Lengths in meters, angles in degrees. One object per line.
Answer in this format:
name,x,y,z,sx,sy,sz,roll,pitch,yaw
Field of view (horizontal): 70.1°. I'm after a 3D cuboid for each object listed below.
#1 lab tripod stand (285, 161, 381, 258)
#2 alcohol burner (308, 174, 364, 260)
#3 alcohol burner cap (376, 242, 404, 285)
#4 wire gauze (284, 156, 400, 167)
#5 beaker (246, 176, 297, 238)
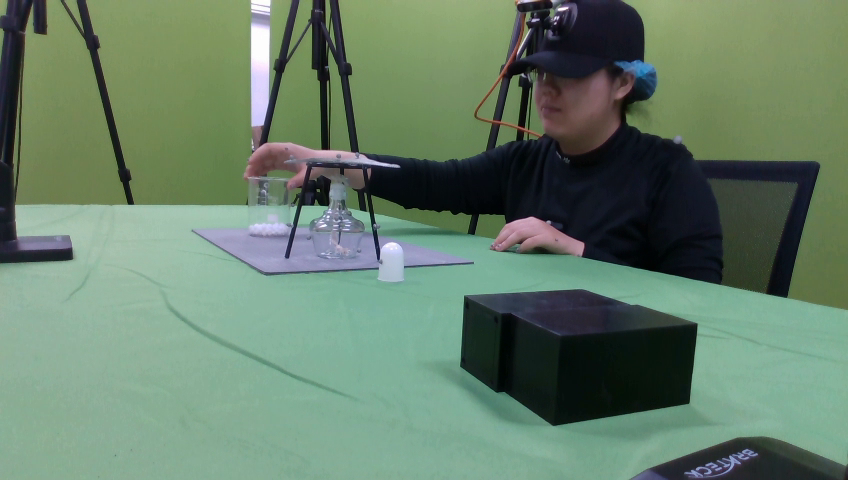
lab tripod stand,-0.123,-0.043,0.842,0.148,0.131,0.148,3,9,0
alcohol burner,-0.121,-0.033,0.843,0.078,0.119,0.078,3,5,0
alcohol burner cap,-0.039,0.026,0.709,0.034,0.048,0.034,3,6,0
wire gauze,-0.115,-0.109,0.835,0.126,0.011,0.121,-3,10,-30
beaker,-0.262,-0.057,1.034,0.084,0.100,0.073,1,9,-17
